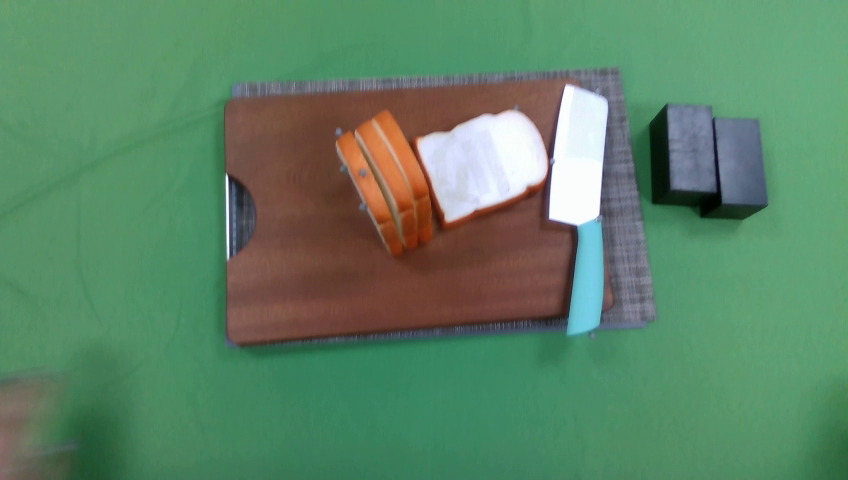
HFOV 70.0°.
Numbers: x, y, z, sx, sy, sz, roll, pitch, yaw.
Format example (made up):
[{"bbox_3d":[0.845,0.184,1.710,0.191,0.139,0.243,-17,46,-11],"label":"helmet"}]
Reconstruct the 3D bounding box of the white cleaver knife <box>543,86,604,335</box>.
[{"bbox_3d":[0.160,-0.037,0.654,0.066,0.021,0.284,8,71,-3],"label":"white cleaver knife"}]

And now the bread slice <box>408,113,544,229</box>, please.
[{"bbox_3d":[0.061,-0.080,0.654,0.134,0.018,0.106,-17,81,-2],"label":"bread slice"}]

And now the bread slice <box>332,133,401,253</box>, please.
[{"bbox_3d":[-0.057,-0.046,0.588,0.019,0.132,0.104,-28,77,-3],"label":"bread slice"}]
